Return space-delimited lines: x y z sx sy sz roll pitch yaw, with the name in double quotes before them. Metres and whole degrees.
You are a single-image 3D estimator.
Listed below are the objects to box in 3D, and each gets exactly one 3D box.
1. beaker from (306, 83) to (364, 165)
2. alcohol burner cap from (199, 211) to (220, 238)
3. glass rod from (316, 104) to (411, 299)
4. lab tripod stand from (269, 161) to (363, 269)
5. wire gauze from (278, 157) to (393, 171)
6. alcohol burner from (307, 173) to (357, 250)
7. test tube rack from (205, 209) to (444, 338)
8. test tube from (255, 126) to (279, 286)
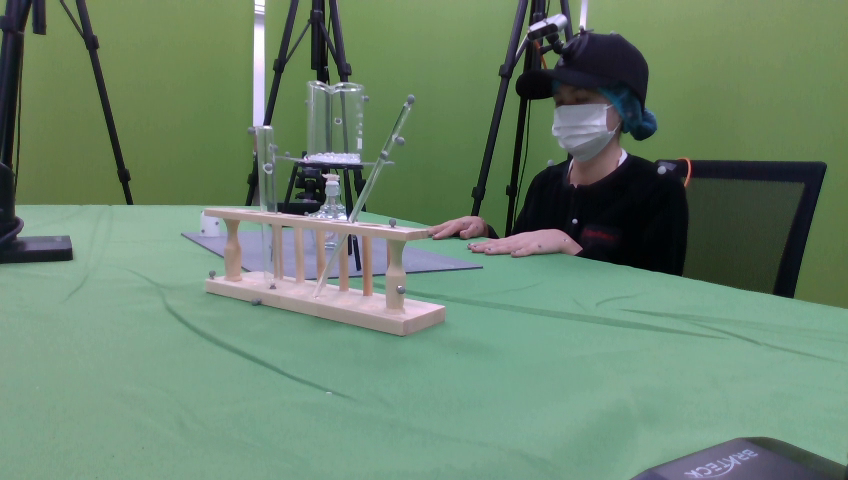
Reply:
"beaker" -0.115 -0.147 0.775 0.074 0.100 0.084 2 8 -2
"alcohol burner cap" -0.355 -0.027 1.002 0.034 0.048 0.034 2 7 0
"glass rod" -0.054 -0.026 0.516 0.008 0.199 0.008 23 24 -11
"lab tripod stand" -0.125 -0.036 0.794 0.148 0.131 0.148 5 7 0
"wire gauze" -0.122 -0.100 0.786 0.122 0.011 0.124 -5 14 -38
"alcohol burner" -0.144 -0.045 0.940 0.078 0.119 0.078 1 8 0
"test tube rack" -0.100 0.021 0.565 0.241 0.085 0.067 7 9 32
"test tube" -0.147 -0.031 0.566 0.017 0.150 0.017 -1 8 0
